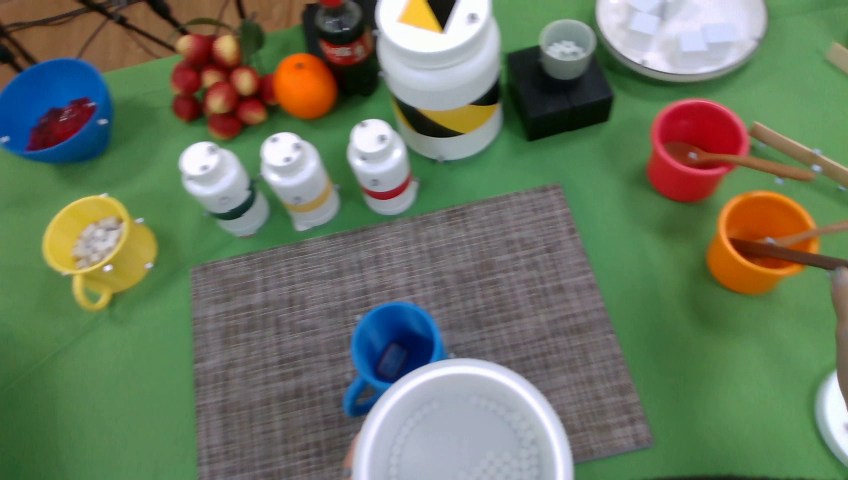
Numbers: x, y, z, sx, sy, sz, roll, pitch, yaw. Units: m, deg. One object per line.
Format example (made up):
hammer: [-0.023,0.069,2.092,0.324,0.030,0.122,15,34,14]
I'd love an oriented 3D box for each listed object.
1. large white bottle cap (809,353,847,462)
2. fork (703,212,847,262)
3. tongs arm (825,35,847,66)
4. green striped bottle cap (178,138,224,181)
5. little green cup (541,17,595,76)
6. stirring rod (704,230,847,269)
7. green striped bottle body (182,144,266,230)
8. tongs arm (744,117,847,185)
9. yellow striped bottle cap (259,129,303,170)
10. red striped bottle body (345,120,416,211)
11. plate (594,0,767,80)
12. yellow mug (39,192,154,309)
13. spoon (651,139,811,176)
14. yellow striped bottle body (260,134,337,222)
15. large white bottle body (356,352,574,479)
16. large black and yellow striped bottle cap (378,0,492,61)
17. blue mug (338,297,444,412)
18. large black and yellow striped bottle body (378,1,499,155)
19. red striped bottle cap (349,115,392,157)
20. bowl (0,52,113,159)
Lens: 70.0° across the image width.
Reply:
large white bottle cap: [0.425,0.160,0.567,0.115,0.018,0.114,-3,65,6]
fork: [0.372,-0.011,0.580,0.207,0.019,0.028,-23,50,46]
tongs arm: [0.598,-0.100,0.662,0.028,0.028,0.384,-29,65,-15]
green striped bottle cap: [-0.238,-0.086,0.645,0.044,0.020,0.044,-2,63,4]
little green cup: [0.166,-0.225,0.709,0.061,0.039,0.061,-2,63,4]
stirring rod: [0.345,0.009,0.580,0.014,0.006,0.174,-38,25,-16]
green striped bottle body: [-0.230,-0.064,0.692,0.063,0.120,0.062,-2,65,5]
tongs arm: [0.531,-0.043,0.640,0.382,0.027,0.050,37,70,20]
yellow striped bottle cap: [-0.151,-0.096,0.639,0.044,0.019,0.044,-1,61,2]
red striped bottle body: [-0.049,-0.086,0.681,0.063,0.121,0.062,-4,64,8]
plate: [0.322,-0.285,0.776,0.209,0.038,0.207,-2,65,5]
yellow mug: [-0.380,0.016,0.702,0.100,0.064,0.130,-4,65,5]
spoon: [0.308,-0.086,0.626,0.041,0.192,0.022,-30,110,-11]
yellow striped bottle body: [-0.144,-0.074,0.686,0.063,0.121,0.062,-3,64,6]
large white bottle body: [0.027,0.147,0.404,0.130,0.186,0.129,-1,70,4]
large black and yellow striped bottle cap: [0.011,-0.232,0.611,0.115,0.019,0.114,-3,67,8]
blue mug: [-0.036,0.122,0.586,0.116,0.107,0.081,-42,66,-12]
large black and yellow striped bottle body: [0.020,-0.196,0.689,0.130,0.185,0.129,-3,65,6]
red striped bottle cap: [-0.056,-0.109,0.634,0.044,0.018,0.044,-1,63,2]
bowl: [-0.467,-0.160,0.787,0.151,0.077,0.150,-2,65,5]
